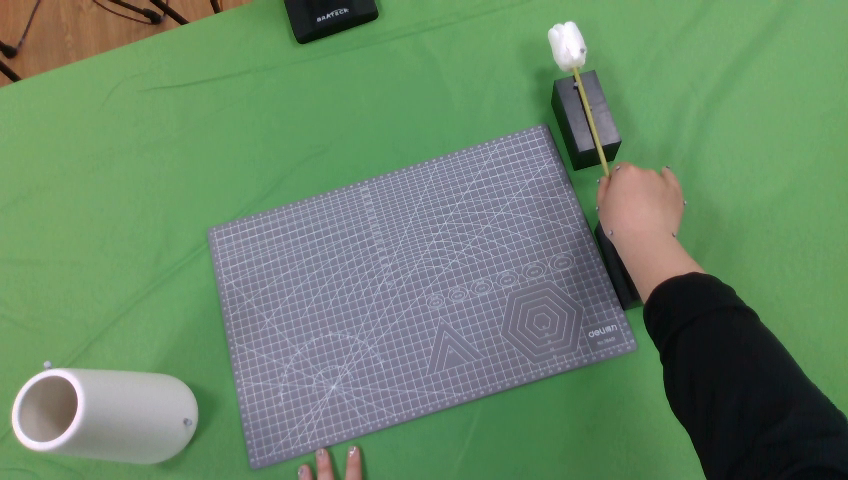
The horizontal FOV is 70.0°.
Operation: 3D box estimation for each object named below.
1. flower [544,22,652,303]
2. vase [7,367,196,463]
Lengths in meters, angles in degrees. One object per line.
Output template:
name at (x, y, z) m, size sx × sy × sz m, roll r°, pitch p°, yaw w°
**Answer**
flower at (0.199, -0.099, 0.686) m, size 0.044 × 0.038 × 0.359 m, roll 1°, pitch 65°, yaw -28°
vase at (-0.312, 0.174, 0.609) m, size 0.098 × 0.201 × 0.097 m, roll -2°, pitch 71°, yaw 5°
